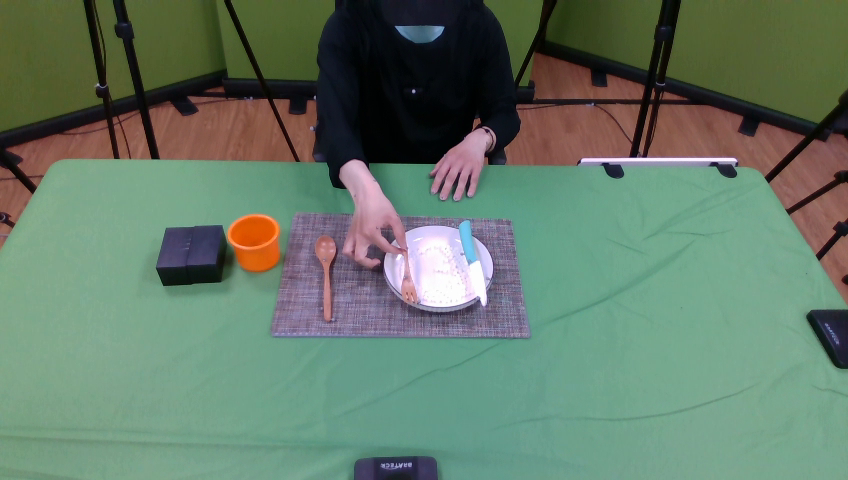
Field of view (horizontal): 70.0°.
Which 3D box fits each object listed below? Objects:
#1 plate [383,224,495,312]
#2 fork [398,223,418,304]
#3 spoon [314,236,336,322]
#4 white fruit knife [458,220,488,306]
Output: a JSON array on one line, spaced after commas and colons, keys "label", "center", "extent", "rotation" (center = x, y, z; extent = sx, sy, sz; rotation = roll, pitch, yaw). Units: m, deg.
[{"label": "plate", "center": [0.026, 0.055, 1.128], "extent": [0.209, 0.038, 0.208], "rotation": [2, 46, -2]}, {"label": "fork", "center": [-0.033, 0.039, 1.109], "extent": [0.028, 0.019, 0.206], "rotation": [0, 47, -9]}, {"label": "spoon", "center": [-0.180, 0.068, 1.111], "extent": [0.042, 0.022, 0.192], "rotation": [10, 43, -20]}, {"label": "white fruit knife", "center": [0.091, 0.039, 1.117], "extent": [0.027, 0.016, 0.206], "rotation": [-3, 47, -10]}]
